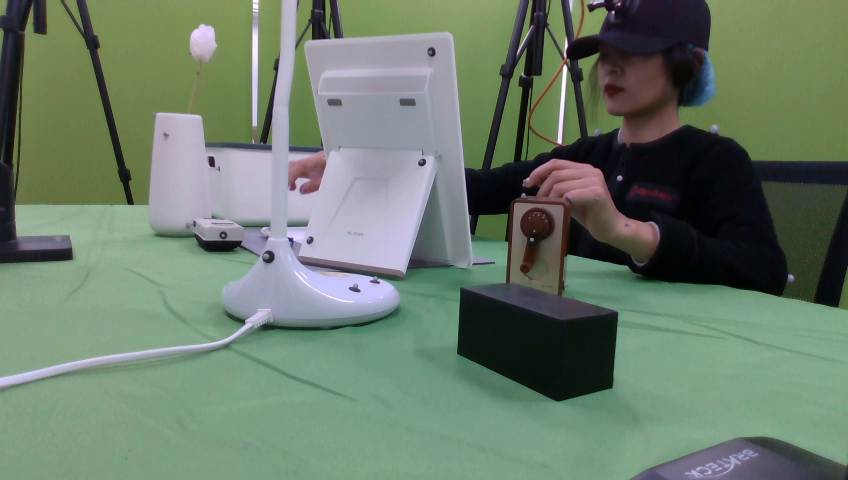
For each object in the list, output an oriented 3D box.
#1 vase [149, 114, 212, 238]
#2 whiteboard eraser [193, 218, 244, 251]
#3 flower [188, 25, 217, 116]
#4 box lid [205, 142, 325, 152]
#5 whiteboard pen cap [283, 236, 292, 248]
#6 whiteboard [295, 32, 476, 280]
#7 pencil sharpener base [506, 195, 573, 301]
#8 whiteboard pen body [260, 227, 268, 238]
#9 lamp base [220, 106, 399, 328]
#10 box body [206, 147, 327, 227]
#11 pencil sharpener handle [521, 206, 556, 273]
[{"bbox_3d":[-0.405,-0.106,1.005,0.098,0.200,0.098,2,6,0],"label":"vase"},{"bbox_3d":[-0.307,-0.009,0.900,0.056,0.042,0.112,-4,10,-28],"label":"whiteboard eraser"},{"bbox_3d":[-0.394,-0.189,1.011,0.044,0.361,0.038,-1,-13,27],"label":"flower"},{"bbox_3d":[-0.270,-0.196,1.310,0.373,0.015,0.262,-2,9,-30],"label":"box lid"},{"bbox_3d":[-0.211,0.003,0.913,0.018,0.018,0.033,-2,6,-27],"label":"whiteboard pen cap"},{"bbox_3d":[-0.076,-0.084,0.747,0.216,0.305,0.144,7,28,29],"label":"whiteboard"},{"bbox_3d":[0.127,0.007,0.663,0.061,0.107,0.077,5,8,15],"label":"pencil sharpener base"},{"bbox_3d":[-0.239,-0.005,0.964,0.017,0.017,0.140,-2,9,-28],"label":"whiteboard pen body"},{"bbox_3d":[-0.102,-0.023,0.531,0.160,0.180,0.179,4,10,10],"label":"lamp base"},{"bbox_3d":[-0.276,-0.122,1.320,0.366,0.160,0.253,-2,9,-30],"label":"box body"},{"bbox_3d":[0.111,0.000,0.612,0.036,0.067,0.031,13,10,14],"label":"pencil sharpener handle"}]
